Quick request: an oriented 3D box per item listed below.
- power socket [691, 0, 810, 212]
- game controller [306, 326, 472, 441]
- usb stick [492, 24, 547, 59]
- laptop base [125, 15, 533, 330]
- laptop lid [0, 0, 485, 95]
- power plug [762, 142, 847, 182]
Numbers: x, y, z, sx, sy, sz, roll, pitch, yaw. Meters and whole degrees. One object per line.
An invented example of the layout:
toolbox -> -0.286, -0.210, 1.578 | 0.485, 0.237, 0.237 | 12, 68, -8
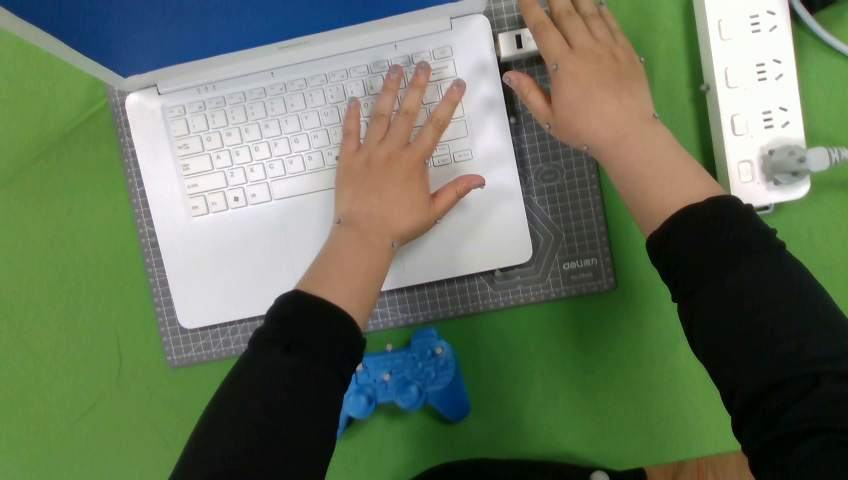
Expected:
power socket -> 0.291, -0.138, 0.542 | 0.072, 0.032, 0.227 | -10, 94, 5
game controller -> -0.037, 0.138, 0.578 | 0.155, 0.051, 0.097 | -10, 88, 4
usb stick -> 0.080, -0.178, 0.548 | 0.059, 0.027, 0.021 | -8, 95, 3
laptop base -> -0.091, -0.060, 0.579 | 0.354, 0.023, 0.236 | -12, 97, 4
laptop lid -> -0.128, -0.184, 0.452 | 0.356, 0.242, 0.013 | -12, 85, 6
power plug -> 0.332, -0.067, 0.527 | 0.072, 0.052, 0.035 | 2, 93, -1
